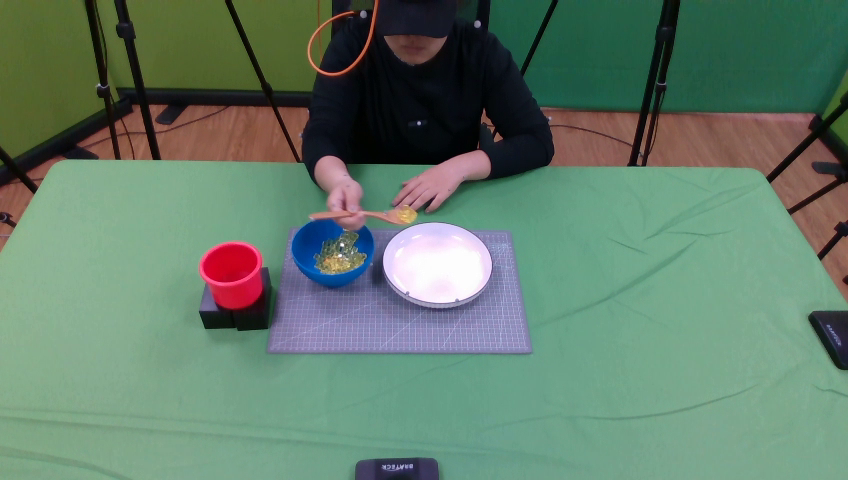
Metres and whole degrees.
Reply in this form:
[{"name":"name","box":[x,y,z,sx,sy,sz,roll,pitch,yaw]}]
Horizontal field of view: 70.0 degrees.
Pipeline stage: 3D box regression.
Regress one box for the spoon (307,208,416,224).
[{"name":"spoon","box":[-0.103,-0.043,1.030,0.194,0.022,0.041,1,45,-29]}]

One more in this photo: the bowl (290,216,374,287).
[{"name":"bowl","box":[-0.166,0.032,1.111,0.151,0.077,0.150,2,46,-2]}]

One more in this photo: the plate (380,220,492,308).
[{"name":"plate","box":[0.022,0.048,1.137,0.208,0.039,0.206,2,46,-2]}]
